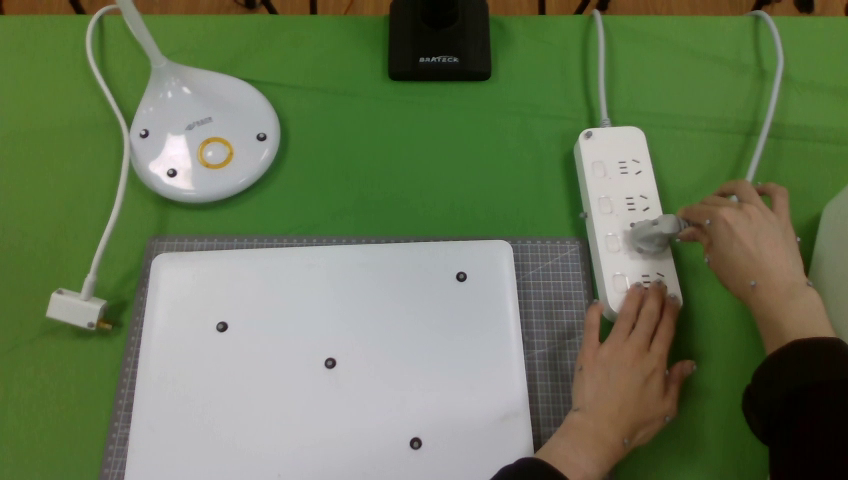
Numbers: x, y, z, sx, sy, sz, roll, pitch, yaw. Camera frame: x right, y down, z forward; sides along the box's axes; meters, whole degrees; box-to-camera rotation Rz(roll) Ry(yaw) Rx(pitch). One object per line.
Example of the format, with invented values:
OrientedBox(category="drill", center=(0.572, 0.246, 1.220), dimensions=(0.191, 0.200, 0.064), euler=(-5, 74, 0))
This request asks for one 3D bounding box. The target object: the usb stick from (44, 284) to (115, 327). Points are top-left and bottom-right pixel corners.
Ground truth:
OrientedBox(category="usb stick", center=(-0.323, 0.065, 0.576), dimensions=(0.059, 0.021, 0.027), euler=(24, 95, -15))

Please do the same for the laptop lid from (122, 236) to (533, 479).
OrientedBox(category="laptop lid", center=(-0.086, 0.111, 0.552), dimensions=(0.357, 0.013, 0.240), euler=(-1, 69, 0))

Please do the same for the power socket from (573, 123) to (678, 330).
OrientedBox(category="power socket", center=(0.201, -0.023, 0.615), dimensions=(0.072, 0.033, 0.225), euler=(-1, 66, -2))

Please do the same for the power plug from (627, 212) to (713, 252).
OrientedBox(category="power plug", center=(0.232, -0.003, 0.581), dimensions=(0.072, 0.053, 0.035), euler=(9, 66, 5))

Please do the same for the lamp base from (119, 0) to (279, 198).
OrientedBox(category="lamp base", center=(-0.248, -0.156, 0.594), dimensions=(0.160, 0.181, 0.178), euler=(-37, 68, -15))

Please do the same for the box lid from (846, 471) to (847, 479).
OrientedBox(category="box lid", center=(0.453, 0.077, 0.420), dimensions=(0.262, 0.015, 0.370), euler=(22, 69, 9))

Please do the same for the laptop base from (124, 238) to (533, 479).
OrientedBox(category="laptop base", center=(-0.086, 0.114, 0.564), dimensions=(0.354, 0.023, 0.234), euler=(-2, 70, -1))

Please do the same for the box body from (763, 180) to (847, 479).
OrientedBox(category="box body", center=(0.453, 0.109, 0.487), dimensions=(0.253, 0.161, 0.362), euler=(22, 68, 9))

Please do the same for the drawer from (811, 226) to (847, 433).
OrientedBox(category="drawer", center=(0.466, 0.092, 0.524), dimensions=(0.194, 0.074, 0.211), euler=(20, 72, 8))
